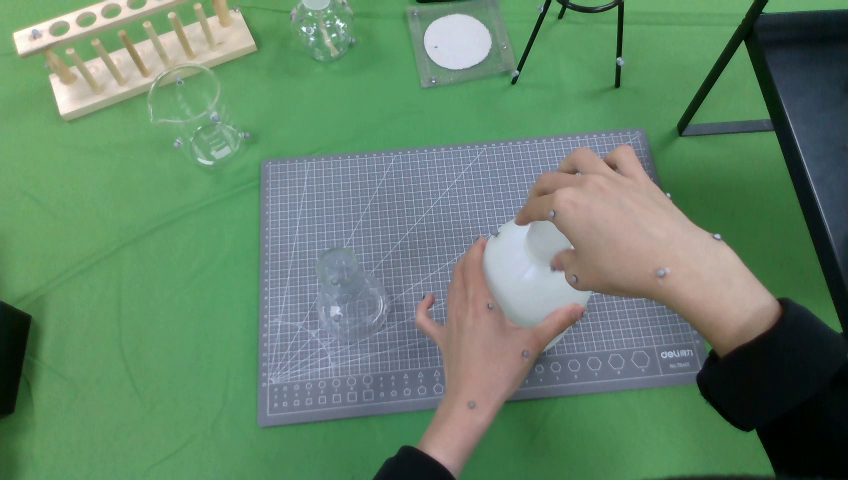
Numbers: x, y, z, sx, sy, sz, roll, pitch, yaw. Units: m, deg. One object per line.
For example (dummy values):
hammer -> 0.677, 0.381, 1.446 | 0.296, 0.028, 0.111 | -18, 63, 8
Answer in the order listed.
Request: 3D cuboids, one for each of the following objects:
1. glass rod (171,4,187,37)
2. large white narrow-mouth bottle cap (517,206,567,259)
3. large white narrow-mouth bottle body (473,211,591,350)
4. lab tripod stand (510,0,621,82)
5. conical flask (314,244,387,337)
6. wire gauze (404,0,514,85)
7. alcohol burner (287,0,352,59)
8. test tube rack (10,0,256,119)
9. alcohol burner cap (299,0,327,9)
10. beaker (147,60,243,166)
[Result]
glass rod -> -0.292, -0.299, 0.671 | 0.008, 0.201, 0.008 | 2, 65, -4
large white narrow-mouth bottle cap -> 0.090, -0.005, 0.461 | 0.038, 0.024, 0.037 | -1, 67, 3
large white narrow-mouth bottle body -> 0.096, 0.031, 0.545 | 0.102, 0.196, 0.101 | -1, 67, 3
lab tripod stand -> 0.174, -0.254, 0.698 | 0.148, 0.132, 0.147 | 1, 66, -1
conical flask -> -0.076, 0.043, 0.577 | 0.075, 0.123, 0.075 | 0, 67, 1
wire gauze -> 0.043, -0.257, 0.767 | 0.121, 0.011, 0.124 | -9, 67, -5
alcohol burner -> -0.126, -0.274, 0.718 | 0.078, 0.120, 0.077 | 0, 65, 0
test tube rack -> -0.335, -0.236, 0.717 | 0.242, 0.086, 0.066 | -24, 69, -10
alcohol burner cap -> -0.126, -0.290, 0.685 | 0.034, 0.048, 0.033 | 4, 65, -8
beaker -> -0.249, -0.133, 0.666 | 0.073, 0.101, 0.084 | 39, 73, 16
